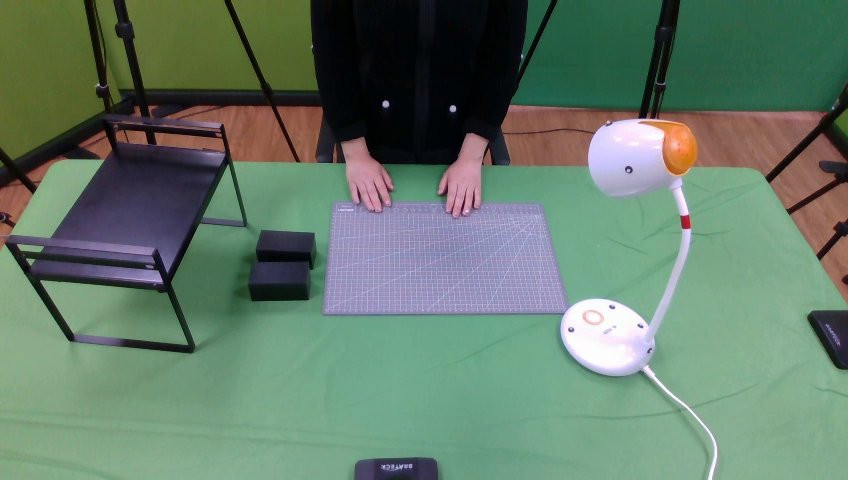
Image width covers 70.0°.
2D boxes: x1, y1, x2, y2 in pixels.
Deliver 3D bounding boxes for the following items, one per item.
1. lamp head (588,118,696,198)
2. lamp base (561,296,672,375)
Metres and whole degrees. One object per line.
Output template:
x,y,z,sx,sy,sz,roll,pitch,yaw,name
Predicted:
0.304,-0.113,0.823,0.112,0.112,0.122,-26,16,-26,lamp head
0.332,0.119,0.995,0.160,0.181,0.178,-34,59,-30,lamp base
